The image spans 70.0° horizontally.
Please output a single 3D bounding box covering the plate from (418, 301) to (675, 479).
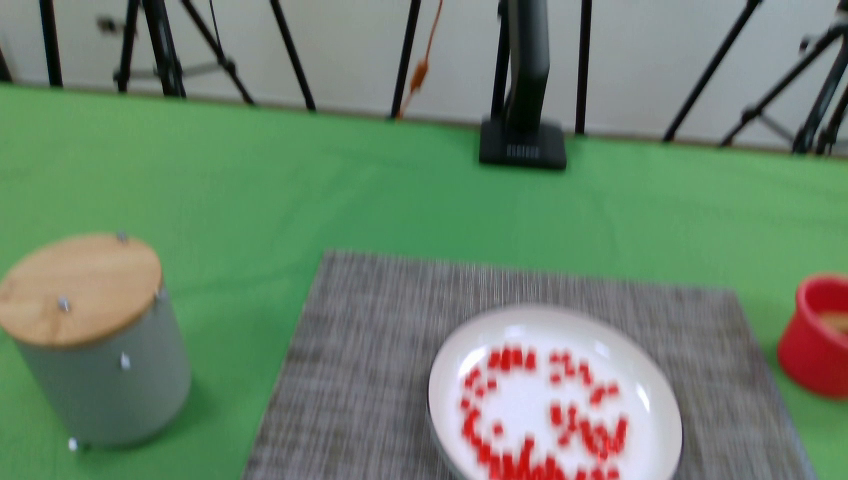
[{"bbox_3d":[0.099,0.137,0.508,0.208,0.039,0.205,3,40,-2],"label":"plate"}]

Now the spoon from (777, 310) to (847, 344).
[{"bbox_3d":[0.414,0.066,0.534,0.193,0.022,0.041,-18,19,41],"label":"spoon"}]

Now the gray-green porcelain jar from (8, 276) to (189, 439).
[{"bbox_3d":[-0.248,0.085,0.477,0.106,0.127,0.105,3,40,-2],"label":"gray-green porcelain jar"}]

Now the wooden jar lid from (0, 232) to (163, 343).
[{"bbox_3d":[-0.245,0.035,0.436,0.108,0.021,0.107,5,39,-4],"label":"wooden jar lid"}]
